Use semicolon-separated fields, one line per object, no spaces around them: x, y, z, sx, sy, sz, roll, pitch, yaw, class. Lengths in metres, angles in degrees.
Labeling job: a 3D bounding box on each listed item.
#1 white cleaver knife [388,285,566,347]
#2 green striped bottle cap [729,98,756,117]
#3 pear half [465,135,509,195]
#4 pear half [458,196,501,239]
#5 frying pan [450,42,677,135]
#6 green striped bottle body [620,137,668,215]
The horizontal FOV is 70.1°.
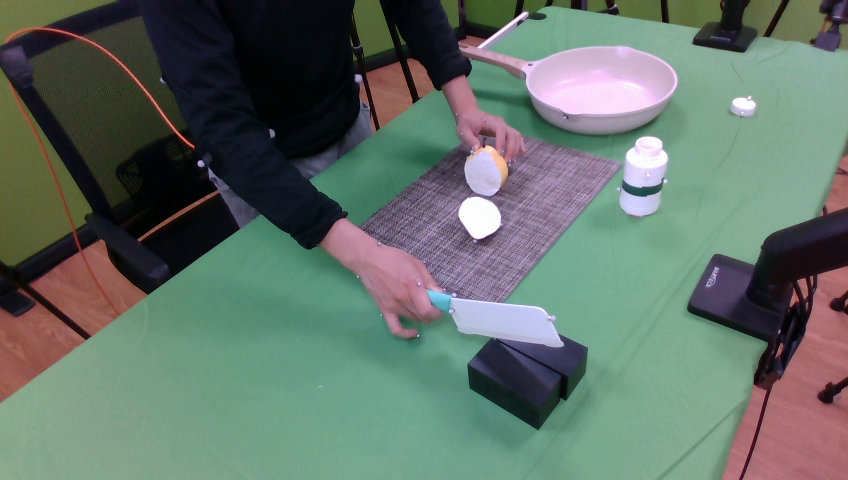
0.051;0.096;0.765;0.284;0.066;0.021;4;36;48;white cleaver knife
0.623;-0.259;1.182;0.044;0.020;0.044;-3;41;3;green striped bottle cap
0.111;-0.137;1.039;0.076;0.110;0.056;16;45;19;pear half
0.087;-0.030;0.975;0.070;0.031;0.088;14;55;0;pear half
0.268;-0.344;1.267;0.485;0.103;0.307;26;49;21;frying pan
0.350;-0.103;0.963;0.063;0.120;0.063;-4;41;4;green striped bottle body
